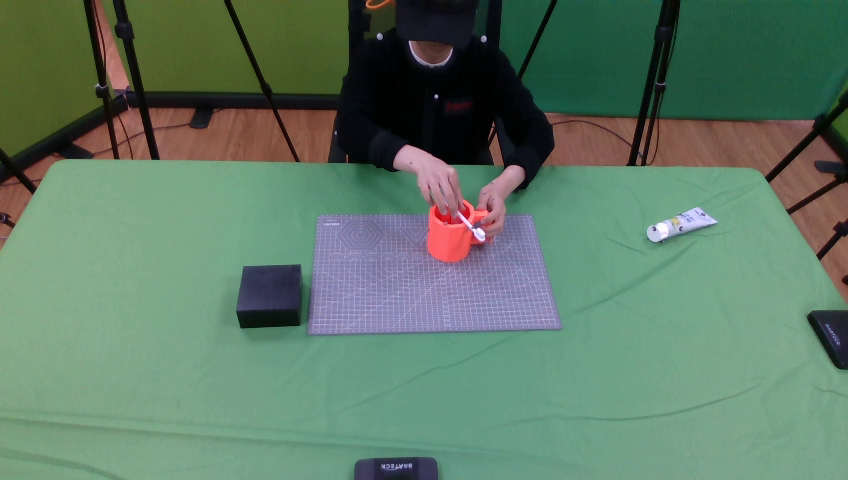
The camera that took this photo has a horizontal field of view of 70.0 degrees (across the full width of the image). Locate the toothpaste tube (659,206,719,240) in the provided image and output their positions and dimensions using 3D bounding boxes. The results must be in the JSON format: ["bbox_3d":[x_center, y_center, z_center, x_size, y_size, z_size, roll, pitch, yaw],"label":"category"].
[{"bbox_3d":[0.542,-0.035,1.259,0.165,0.034,0.054,-19,55,-26],"label":"toothpaste tube"}]

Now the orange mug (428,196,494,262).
[{"bbox_3d":[0.070,-0.023,1.164,0.126,0.101,0.083,-7,46,-5],"label":"orange mug"}]

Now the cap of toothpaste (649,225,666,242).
[{"bbox_3d":[0.473,-0.015,1.226,0.011,0.037,0.037,-20,50,-26],"label":"cap of toothpaste"}]

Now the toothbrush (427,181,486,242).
[{"bbox_3d":[0.059,-0.058,1.125,0.014,0.017,0.180,-27,53,-21],"label":"toothbrush"}]
